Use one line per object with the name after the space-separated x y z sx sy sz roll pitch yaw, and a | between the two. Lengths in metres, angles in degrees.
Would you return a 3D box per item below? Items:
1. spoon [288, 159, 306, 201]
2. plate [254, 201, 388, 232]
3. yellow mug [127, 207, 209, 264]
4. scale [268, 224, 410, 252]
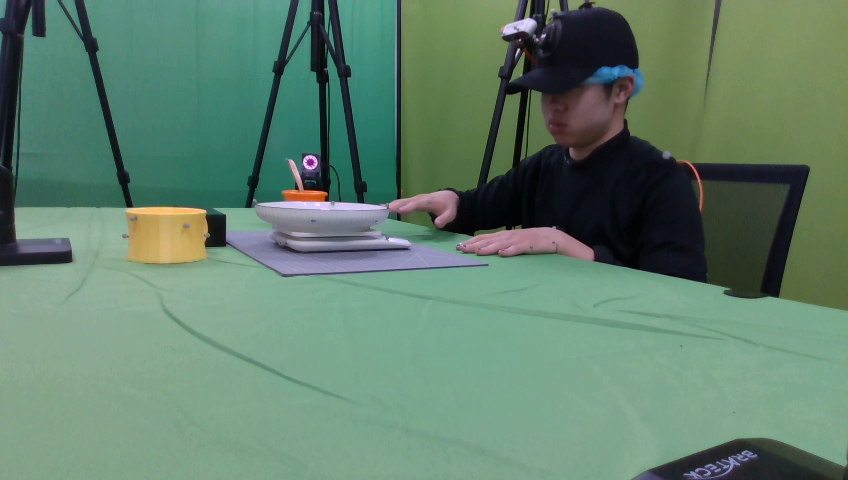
-0.260 -0.103 1.268 0.042 0.193 0.021 3 -39 -33 | spoon
-0.161 -0.038 0.961 0.209 0.038 0.209 2 6 0 | plate
-0.339 -0.009 0.827 0.100 0.064 0.131 5 7 17 | yellow mug
-0.137 -0.006 0.980 0.202 0.031 0.148 -1 8 -30 | scale
